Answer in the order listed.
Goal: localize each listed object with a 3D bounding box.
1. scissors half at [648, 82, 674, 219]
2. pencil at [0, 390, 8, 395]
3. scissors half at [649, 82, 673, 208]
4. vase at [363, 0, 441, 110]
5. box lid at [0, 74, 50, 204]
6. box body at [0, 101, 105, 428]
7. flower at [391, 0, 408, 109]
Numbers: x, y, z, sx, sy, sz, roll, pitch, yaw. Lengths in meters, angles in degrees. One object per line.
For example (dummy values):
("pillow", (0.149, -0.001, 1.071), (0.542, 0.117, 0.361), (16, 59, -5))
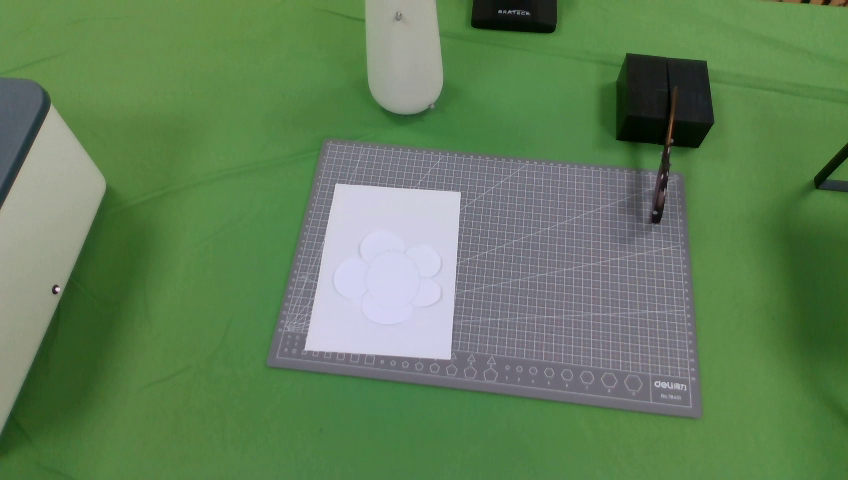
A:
("scissors half", (0.283, -0.108, 0.716), (0.012, 0.040, 0.174), (9, 81, 20))
("pencil", (-0.522, 0.141, 0.625), (0.194, 0.012, 0.012), (10, 63, 3))
("scissors half", (0.278, -0.114, 0.698), (0.013, 0.040, 0.174), (10, 64, 15))
("vase", (-0.029, -0.248, 0.722), (0.098, 0.201, 0.097), (-1, 62, 2))
("box lid", (-0.522, -0.013, 0.542), (0.263, 0.015, 0.368), (6, 64, 4))
("box body", (-0.521, 0.023, 0.607), (0.254, 0.161, 0.361), (6, 63, 4))
("flower", (-0.035, -0.299, 0.654), (0.044, 0.365, 0.038), (-1, 45, 4))
